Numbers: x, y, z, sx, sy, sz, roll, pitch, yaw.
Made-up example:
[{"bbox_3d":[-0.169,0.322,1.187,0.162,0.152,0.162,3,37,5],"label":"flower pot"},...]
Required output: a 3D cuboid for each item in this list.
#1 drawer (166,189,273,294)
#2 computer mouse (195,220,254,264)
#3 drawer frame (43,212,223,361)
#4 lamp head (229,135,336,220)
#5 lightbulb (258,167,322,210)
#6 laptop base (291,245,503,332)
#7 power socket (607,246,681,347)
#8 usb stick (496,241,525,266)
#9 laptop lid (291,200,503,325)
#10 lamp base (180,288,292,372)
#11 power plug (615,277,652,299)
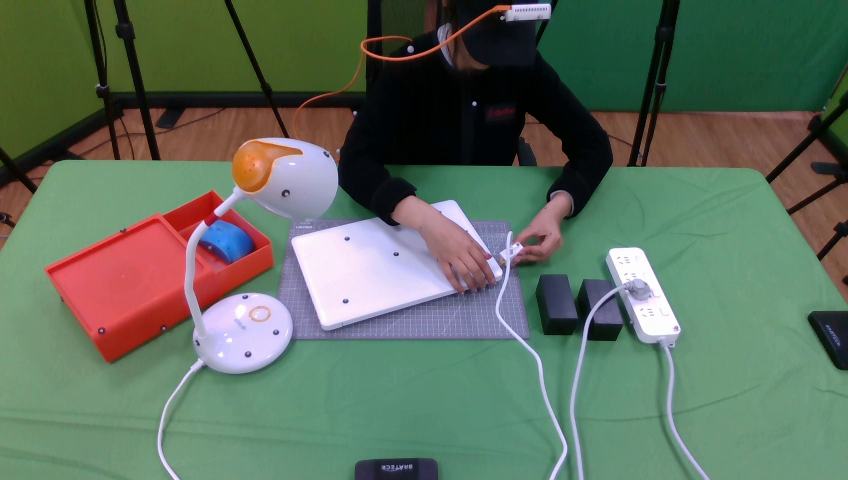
[{"bbox_3d":[-0.419,0.021,1.108,0.193,0.073,0.211,37,55,27],"label":"drawer"},{"bbox_3d":[-0.380,-0.002,1.152,0.116,0.041,0.062,28,53,28],"label":"computer mouse"},{"bbox_3d":[-0.497,0.073,1.049,0.213,0.083,0.200,-34,57,-31],"label":"drawer frame"},{"bbox_3d":[-0.196,-0.085,0.791,0.112,0.112,0.123,36,15,27],"label":"lamp head"},{"bbox_3d":[-0.181,-0.071,0.808,0.059,0.059,0.108,32,11,25],"label":"lightbulb"},{"bbox_3d":[-0.054,0.039,1.157,0.355,0.023,0.234,-15,46,-17],"label":"laptop base"},{"bbox_3d":[0.403,0.096,1.123,0.072,0.033,0.225,-3,47,-5],"label":"power socket"},{"bbox_3d":[0.163,0.029,1.155,0.059,0.027,0.021,-31,60,-7],"label":"usb stick"},{"bbox_3d":[-0.055,0.030,1.150,0.357,0.013,0.240,-13,46,-16],"label":"laptop lid"},{"bbox_3d":[-0.309,0.108,0.959,0.160,0.181,0.179,29,55,22],"label":"lamp base"},{"bbox_3d":[0.375,0.088,1.096,0.072,0.053,0.035,6,46,2],"label":"power plug"}]
